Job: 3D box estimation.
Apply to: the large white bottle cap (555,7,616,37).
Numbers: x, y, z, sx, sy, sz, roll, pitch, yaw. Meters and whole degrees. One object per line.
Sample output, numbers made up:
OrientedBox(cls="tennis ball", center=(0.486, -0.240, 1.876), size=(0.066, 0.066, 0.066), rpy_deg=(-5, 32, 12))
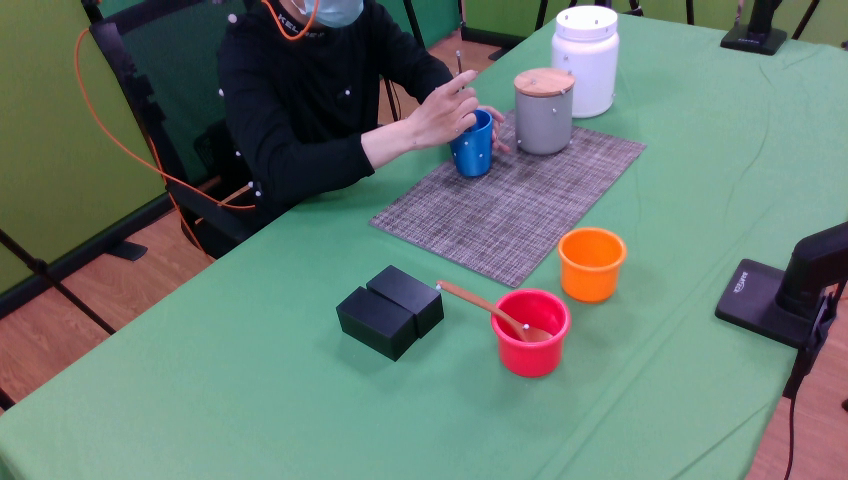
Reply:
OrientedBox(cls="large white bottle cap", center=(0.311, -0.420, 1.163), size=(0.115, 0.018, 0.114), rpy_deg=(-4, 40, 4))

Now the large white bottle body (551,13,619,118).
OrientedBox(cls="large white bottle body", center=(0.321, -0.355, 1.218), size=(0.130, 0.185, 0.130), rpy_deg=(-4, 41, 4))

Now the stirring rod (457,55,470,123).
OrientedBox(cls="stirring rod", center=(0.074, -0.239, 1.059), size=(0.006, 0.177, 0.014), rpy_deg=(-8, 37, 7))

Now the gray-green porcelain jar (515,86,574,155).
OrientedBox(cls="gray-green porcelain jar", center=(0.223, -0.232, 1.129), size=(0.106, 0.127, 0.105), rpy_deg=(-4, 40, 4))

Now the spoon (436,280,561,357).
OrientedBox(cls="spoon", center=(0.096, 0.095, 0.757), size=(0.195, 0.021, 0.041), rpy_deg=(34, 43, -20))

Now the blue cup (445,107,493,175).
OrientedBox(cls="blue cup", center=(0.085, -0.173, 1.087), size=(0.092, 0.101, 0.092), rpy_deg=(-6, 41, 5))

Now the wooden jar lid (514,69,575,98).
OrientedBox(cls="wooden jar lid", center=(0.216, -0.279, 1.088), size=(0.108, 0.021, 0.108), rpy_deg=(-3, 38, 3))
